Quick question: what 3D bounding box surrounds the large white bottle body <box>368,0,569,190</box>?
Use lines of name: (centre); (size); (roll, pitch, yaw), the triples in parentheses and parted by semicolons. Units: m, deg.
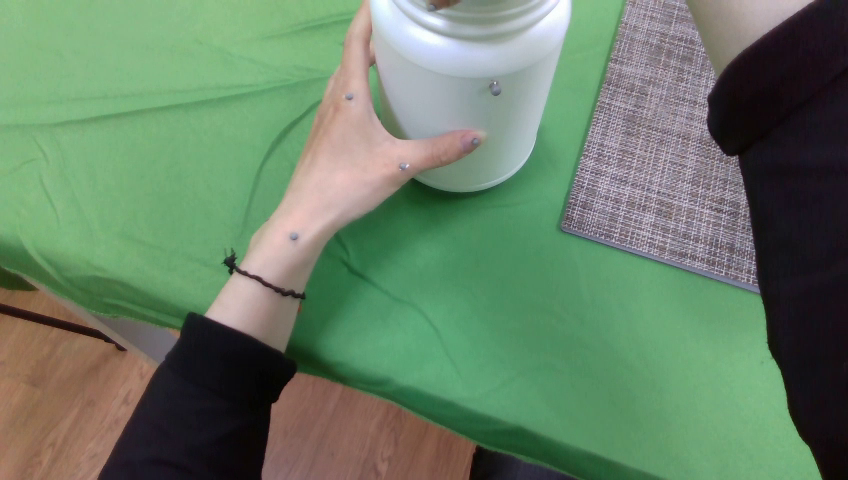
large white bottle body: (0.028, -0.135, 0.433); (0.131, 0.186, 0.129); (1, 63, -1)

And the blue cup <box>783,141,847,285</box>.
blue cup: (0.305, -0.015, 0.422); (0.092, 0.101, 0.092); (0, 62, 0)

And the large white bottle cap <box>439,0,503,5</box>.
large white bottle cap: (0.025, -0.183, 0.340); (0.115, 0.018, 0.114); (0, 70, -1)
